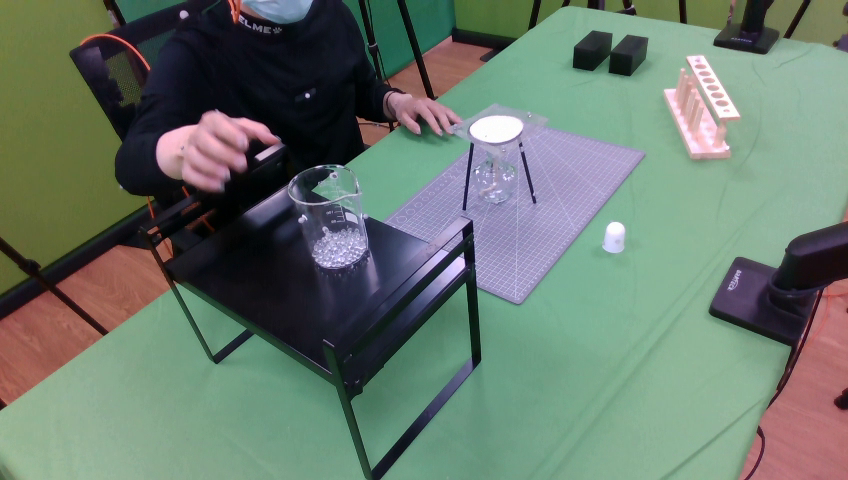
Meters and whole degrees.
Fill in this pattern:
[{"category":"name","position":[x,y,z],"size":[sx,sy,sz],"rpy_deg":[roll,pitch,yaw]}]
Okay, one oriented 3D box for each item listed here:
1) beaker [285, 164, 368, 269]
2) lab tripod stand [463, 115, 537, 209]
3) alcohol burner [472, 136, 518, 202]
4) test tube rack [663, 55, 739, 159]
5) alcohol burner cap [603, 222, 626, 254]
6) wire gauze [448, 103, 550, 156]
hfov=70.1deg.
[{"category":"beaker","position":[-0.102,-0.024,0.676],"size":[0.083,0.101,0.074],"rpy_deg":[8,43,17]},{"category":"lab tripod stand","position":[0.120,-0.134,1.018],"size":[0.148,0.132,0.147],"rpy_deg":[-5,39,5]},{"category":"alcohol burner","position":[0.121,-0.124,1.023],"size":[0.078,0.119,0.077],"rpy_deg":[-3,41,3]},{"category":"test tube rack","position":[0.518,-0.256,1.144],"size":[0.066,0.085,0.241],"rpy_deg":[-1,41,8]},{"category":"alcohol burner cap","position":[0.291,-0.006,0.921],"size":[0.034,0.048,0.033],"rpy_deg":[-4,40,4]},{"category":"wire gauze","position":[0.119,-0.184,0.973],"size":[0.122,0.011,0.124],"rpy_deg":[-34,45,-28]}]
